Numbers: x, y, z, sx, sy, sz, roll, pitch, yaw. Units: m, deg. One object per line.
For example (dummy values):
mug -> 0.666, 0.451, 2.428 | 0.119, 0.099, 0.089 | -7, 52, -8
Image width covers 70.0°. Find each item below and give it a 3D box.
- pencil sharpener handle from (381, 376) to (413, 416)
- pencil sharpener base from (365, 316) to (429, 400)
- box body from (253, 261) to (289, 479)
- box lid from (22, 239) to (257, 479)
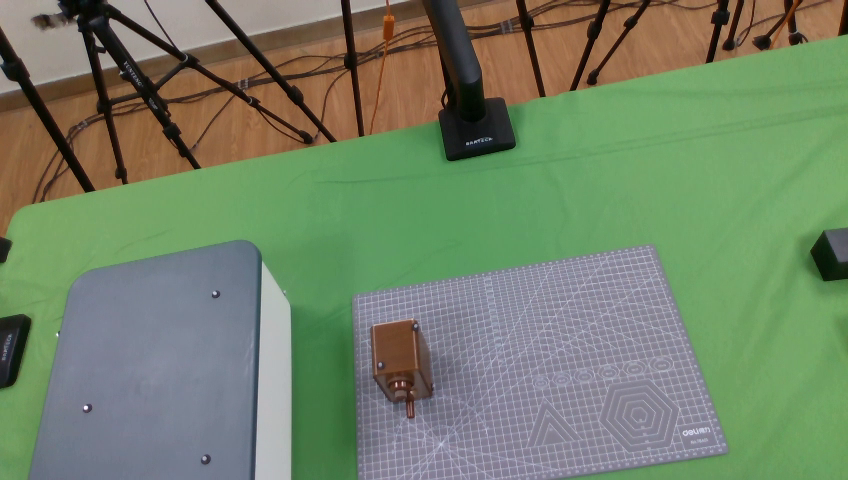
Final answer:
pencil sharpener handle -> -0.028, 0.193, 0.744 | 0.036, 0.068, 0.030 | -14, 57, 11
pencil sharpener base -> -0.033, 0.157, 0.782 | 0.061, 0.108, 0.076 | -10, 57, 4
box body -> -0.314, 0.210, 0.772 | 0.254, 0.162, 0.360 | -12, 57, 3
box lid -> -0.325, 0.169, 0.711 | 0.263, 0.015, 0.367 | -11, 57, 3
